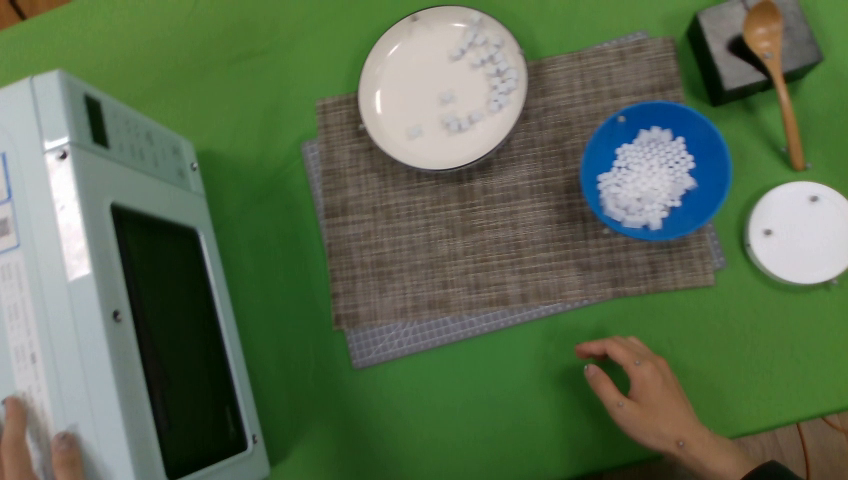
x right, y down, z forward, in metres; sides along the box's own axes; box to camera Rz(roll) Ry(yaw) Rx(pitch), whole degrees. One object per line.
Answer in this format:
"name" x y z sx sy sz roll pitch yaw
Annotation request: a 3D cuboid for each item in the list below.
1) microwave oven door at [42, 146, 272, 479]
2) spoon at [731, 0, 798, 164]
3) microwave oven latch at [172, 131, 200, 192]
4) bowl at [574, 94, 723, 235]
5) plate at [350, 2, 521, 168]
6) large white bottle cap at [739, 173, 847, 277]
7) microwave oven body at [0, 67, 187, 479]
"microwave oven door" -0.269 0.097 0.641 0.039 0.245 0.354 -19 80 7
"spoon" 0.375 -0.170 0.655 0.041 0.021 0.194 -24 102 4
"microwave oven latch" -0.313 -0.097 0.774 0.030 0.029 0.079 -19 81 7
"bowl" 0.240 -0.075 0.670 0.151 0.077 0.151 -1 83 10
"plate" 0.014 -0.186 0.742 0.209 0.038 0.208 -1 82 10
"large white bottle cap" 0.411 -0.017 0.669 0.114 0.018 0.114 -1 83 8
"microwave oven body" -0.418 0.104 0.670 0.326 0.261 0.440 -19 81 7
